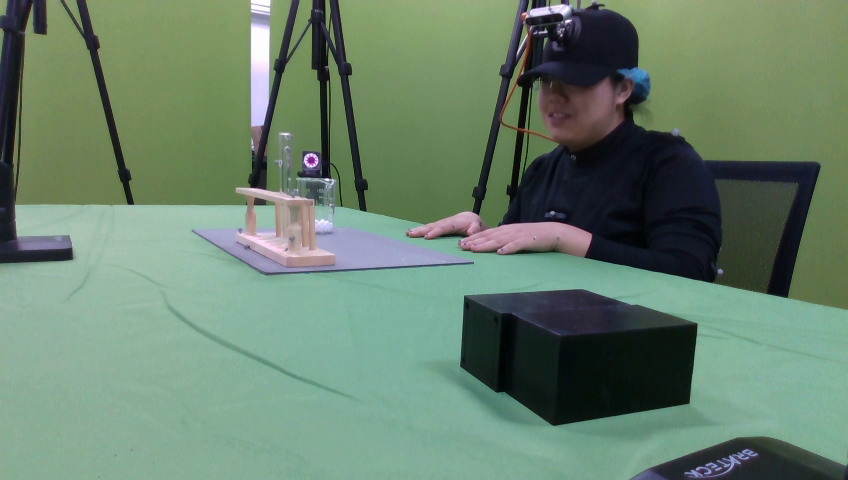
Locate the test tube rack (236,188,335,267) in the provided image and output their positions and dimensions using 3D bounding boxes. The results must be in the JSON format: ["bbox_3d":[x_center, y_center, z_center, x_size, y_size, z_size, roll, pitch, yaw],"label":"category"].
[{"bbox_3d":[-0.202,-0.024,0.855,0.067,0.085,0.241,-2,9,-31],"label":"test tube rack"}]

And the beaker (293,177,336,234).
[{"bbox_3d":[-0.197,-0.063,1.107,0.083,0.100,0.074,10,11,40],"label":"beaker"}]

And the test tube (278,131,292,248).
[{"bbox_3d":[-0.178,-0.063,0.776,0.017,0.150,0.017,2,11,0],"label":"test tube"}]
